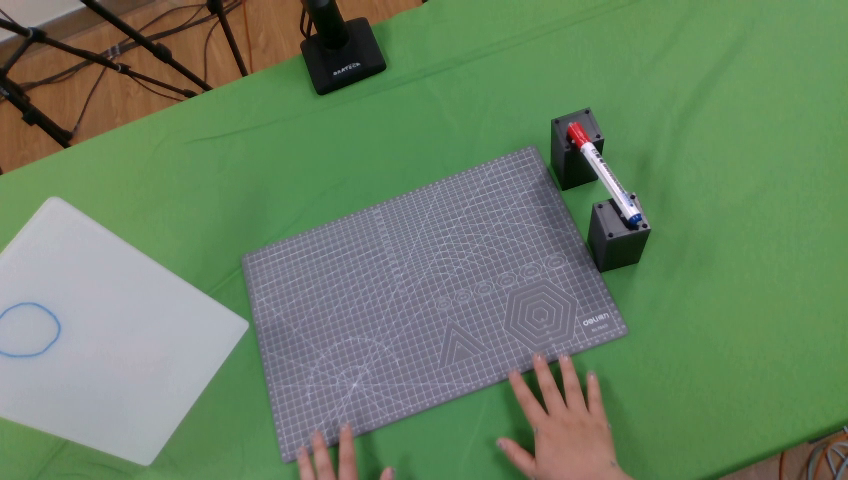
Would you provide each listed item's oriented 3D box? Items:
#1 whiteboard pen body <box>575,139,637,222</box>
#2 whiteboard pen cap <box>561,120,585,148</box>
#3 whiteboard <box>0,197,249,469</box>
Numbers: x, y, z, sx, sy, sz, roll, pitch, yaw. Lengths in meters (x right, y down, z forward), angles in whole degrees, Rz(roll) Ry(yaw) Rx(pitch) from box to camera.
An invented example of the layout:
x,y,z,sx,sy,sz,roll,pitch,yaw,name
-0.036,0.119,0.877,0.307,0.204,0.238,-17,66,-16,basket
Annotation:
x,y,z,sx,sy,sz,roll,pitch,yaw,name
0.205,-0.080,0.707,0.017,0.017,0.139,-26,65,-1,whiteboard pen body
0.181,-0.128,0.732,0.017,0.017,0.032,-25,65,-1,whiteboard pen cap
-0.410,0.105,0.727,0.142,0.309,0.216,20,70,39,whiteboard
